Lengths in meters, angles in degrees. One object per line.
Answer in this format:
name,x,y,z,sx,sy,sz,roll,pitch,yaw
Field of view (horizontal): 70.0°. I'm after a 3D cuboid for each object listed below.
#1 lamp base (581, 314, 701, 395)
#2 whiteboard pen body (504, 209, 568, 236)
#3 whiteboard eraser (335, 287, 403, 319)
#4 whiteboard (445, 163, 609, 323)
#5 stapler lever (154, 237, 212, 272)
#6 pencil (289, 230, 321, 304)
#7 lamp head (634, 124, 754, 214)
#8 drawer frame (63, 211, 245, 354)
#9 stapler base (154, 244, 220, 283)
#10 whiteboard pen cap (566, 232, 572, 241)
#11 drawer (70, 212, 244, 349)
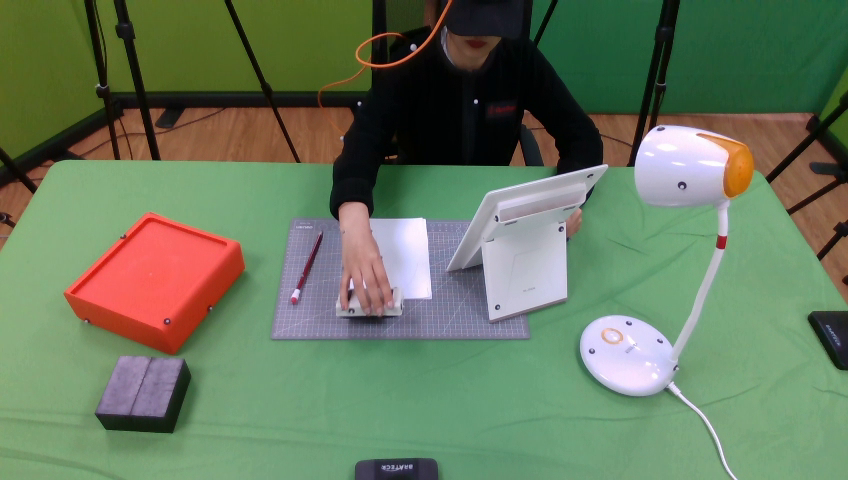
lamp base,0.361,0.145,0.973,0.178,0.181,0.160,34,53,23
whiteboard pen body,0.230,-0.034,1.248,0.140,0.017,0.017,21,49,15
whiteboard eraser,-0.093,0.108,1.034,0.113,0.042,0.055,-2,30,4
whiteboard,0.187,0.026,1.028,0.217,0.306,0.143,-13,68,-17
stapler lever,-0.434,0.022,1.091,0.118,0.040,0.027,23,46,15
pencil,-0.220,0.046,1.141,0.012,0.012,0.193,8,44,4
lamp head,0.351,-0.089,0.775,0.112,0.113,0.122,-30,30,-28
drawer frame,-0.459,0.067,1.056,0.201,0.083,0.212,17,48,11
stapler base,-0.434,0.038,1.107,0.130,0.024,0.041,21,45,17
whiteboard pen cap,0.282,-0.012,1.231,0.033,0.018,0.018,24,49,15
drawer,-0.458,0.065,1.060,0.194,0.073,0.211,18,48,12
